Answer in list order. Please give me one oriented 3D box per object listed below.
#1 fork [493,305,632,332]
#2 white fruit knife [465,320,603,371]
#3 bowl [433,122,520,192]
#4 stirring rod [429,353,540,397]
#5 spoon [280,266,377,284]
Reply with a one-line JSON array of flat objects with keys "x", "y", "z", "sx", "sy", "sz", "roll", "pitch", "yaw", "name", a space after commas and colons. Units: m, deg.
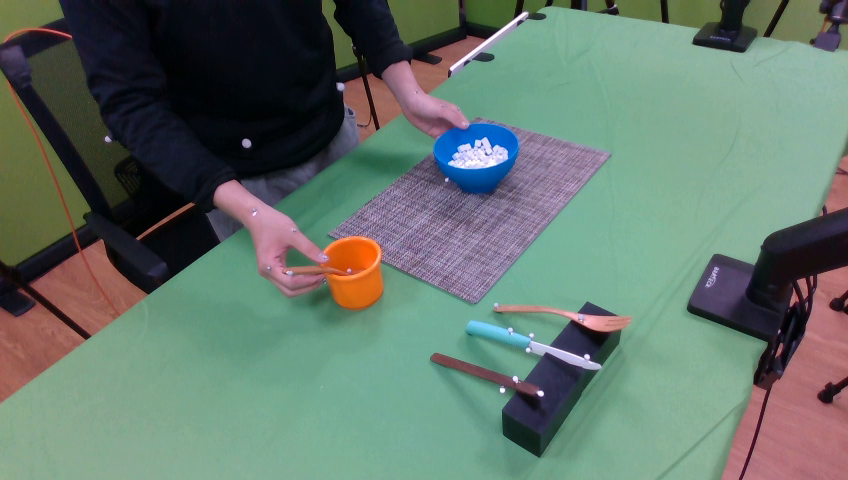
[{"x": 0.171, "y": 0.097, "z": 0.783, "sx": 0.205, "sy": 0.019, "sz": 0.028, "roll": 4, "pitch": 41, "yaw": 43, "name": "fork"}, {"x": 0.128, "y": 0.129, "z": 0.749, "sx": 0.205, "sy": 0.027, "sz": 0.016, "roll": 10, "pitch": 44, "yaw": 44, "name": "white fruit knife"}, {"x": 0.093, "y": -0.137, "z": 1.064, "sx": 0.151, "sy": 0.077, "sz": 0.150, "roll": -4, "pitch": 41, "yaw": 4, "name": "bowl"}, {"x": 0.069, "y": 0.162, "z": 0.737, "sx": 0.174, "sy": 0.006, "sz": 0.014, "roll": 8, "pitch": 41, "yaw": 47, "name": "stirring rod"}, {"x": -0.129, "y": 0.045, "z": 0.837, "sx": 0.041, "sy": 0.021, "sz": 0.195, "roll": 25, "pitch": 5, "yaw": 30, "name": "spoon"}]
